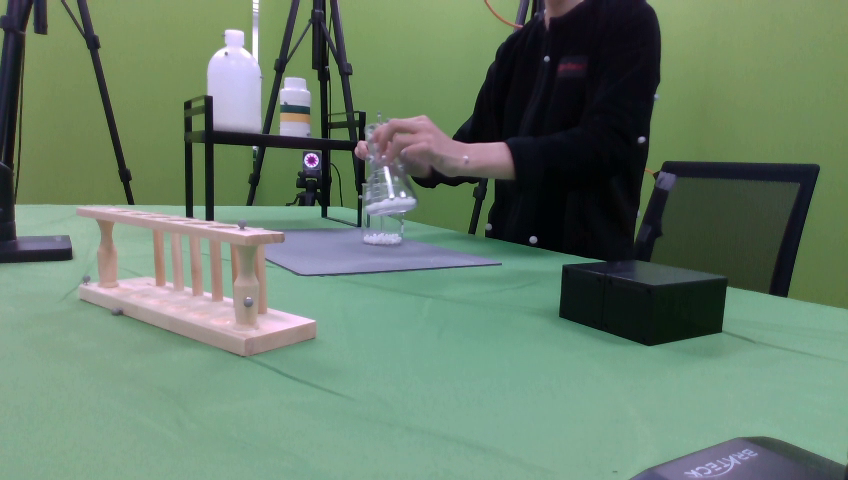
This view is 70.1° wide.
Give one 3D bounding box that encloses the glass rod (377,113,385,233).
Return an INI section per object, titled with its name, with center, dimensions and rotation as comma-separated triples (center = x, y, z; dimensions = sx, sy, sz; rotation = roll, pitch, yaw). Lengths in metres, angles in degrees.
[glass rod]
center = -0.072, -0.110, 1.000
dimensions = 0.008, 0.199, 0.008
rotation = -2, -1, 0

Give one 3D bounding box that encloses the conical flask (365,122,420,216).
[conical flask]
center = -0.051, -0.098, 0.826
dimensions = 0.075, 0.121, 0.075
rotation = -10, -4, 0

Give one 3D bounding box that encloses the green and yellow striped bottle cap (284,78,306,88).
[green and yellow striped bottle cap]
center = -0.268, -0.325, 1.259
dimensions = 0.045, 0.020, 0.045
rotation = 5, 7, 0

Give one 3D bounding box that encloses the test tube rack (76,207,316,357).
[test tube rack]
center = -0.196, 0.023, 0.500
dimensions = 0.241, 0.085, 0.067
rotation = 8, 9, 36

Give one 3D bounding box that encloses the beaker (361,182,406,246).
[beaker]
center = -0.067, -0.042, 0.993
dimensions = 0.074, 0.100, 0.084
rotation = 1, 8, -8

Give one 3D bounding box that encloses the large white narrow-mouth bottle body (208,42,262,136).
[large white narrow-mouth bottle body]
center = -0.369, -0.304, 1.181
dimensions = 0.102, 0.194, 0.101
rotation = 2, 9, 0

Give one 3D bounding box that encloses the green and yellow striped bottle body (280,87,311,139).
[green and yellow striped bottle body]
center = -0.269, -0.274, 1.266
dimensions = 0.063, 0.119, 0.063
rotation = 3, 7, 0

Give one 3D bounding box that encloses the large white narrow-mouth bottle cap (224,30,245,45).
[large white narrow-mouth bottle cap]
center = -0.365, -0.389, 1.166
dimensions = 0.038, 0.024, 0.037
rotation = 2, 9, 0
